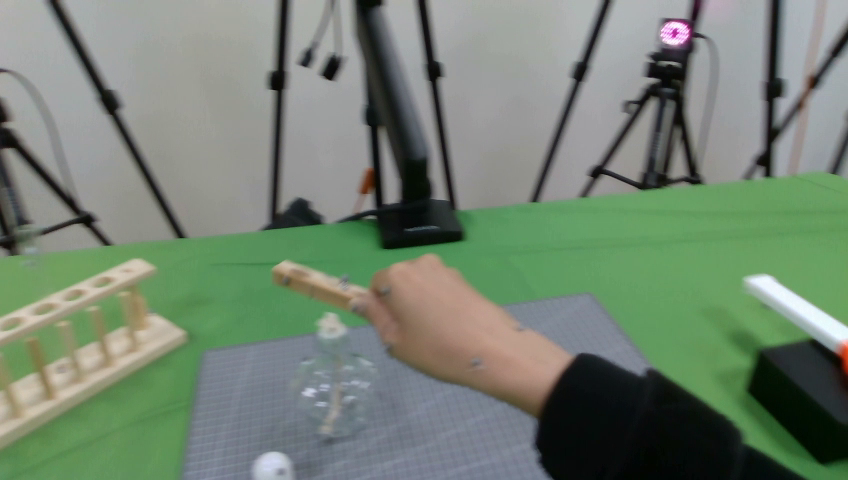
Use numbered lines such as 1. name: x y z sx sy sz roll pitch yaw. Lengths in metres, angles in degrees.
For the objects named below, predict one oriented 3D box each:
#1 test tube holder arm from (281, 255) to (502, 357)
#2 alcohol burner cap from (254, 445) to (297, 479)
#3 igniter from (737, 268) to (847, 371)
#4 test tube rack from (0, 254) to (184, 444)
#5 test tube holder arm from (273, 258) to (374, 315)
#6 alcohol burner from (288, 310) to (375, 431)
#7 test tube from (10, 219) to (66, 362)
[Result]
1. test tube holder arm: -0.029 0.043 0.422 0.177 0.015 0.013 18 35 21
2. alcohol burner cap: -0.118 0.183 0.478 0.034 0.048 0.033 0 30 0
3. igniter: 0.385 0.096 0.540 0.057 0.025 0.273 -8 27 -11
4. test tube rack: -0.363 0.108 0.580 0.066 0.086 0.242 20 36 32
5. test tube holder arm: -0.071 0.033 0.434 0.087 0.015 0.010 18 35 21
6. alcohol burner: -0.082 0.110 0.534 0.078 0.120 0.077 1 31 0
7. test tube: -0.366 0.052 0.578 0.017 0.151 0.017 0 23 0
